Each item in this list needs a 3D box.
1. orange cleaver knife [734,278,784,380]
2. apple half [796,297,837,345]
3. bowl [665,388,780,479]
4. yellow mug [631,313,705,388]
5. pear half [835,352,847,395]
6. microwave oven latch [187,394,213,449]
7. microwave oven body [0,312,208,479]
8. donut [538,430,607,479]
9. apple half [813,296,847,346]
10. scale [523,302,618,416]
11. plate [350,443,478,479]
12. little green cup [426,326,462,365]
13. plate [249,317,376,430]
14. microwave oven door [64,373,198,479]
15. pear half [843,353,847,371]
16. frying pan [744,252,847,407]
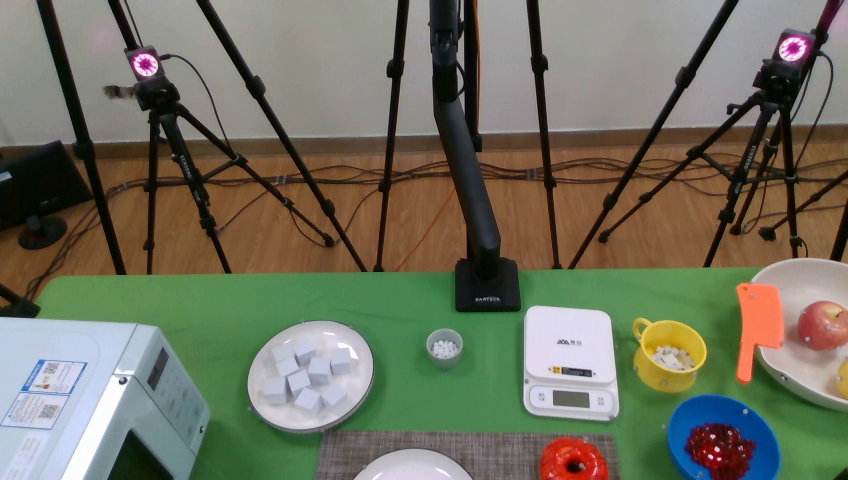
[{"bbox_3d":[0.533,0.138,0.968,0.077,0.012,0.210,14,50,17],"label":"orange cleaver knife"},{"bbox_3d":[0.636,0.138,0.998,0.033,0.082,0.080,-5,47,-5],"label":"apple half"},{"bbox_3d":[0.417,0.298,0.871,0.151,0.077,0.150,-2,48,2],"label":"bowl"},{"bbox_3d":[0.389,0.172,0.996,0.100,0.064,0.129,-25,50,-18],"label":"yellow mug"},{"bbox_3d":[0.671,0.201,0.915,0.075,0.111,0.056,28,55,31],"label":"pear half"},{"bbox_3d":[-0.353,0.280,0.940,0.030,0.030,0.078,3,48,6],"label":"microwave oven latch"},{"bbox_3d":[-0.522,0.340,0.764,0.326,0.262,0.437,2,48,5],"label":"microwave oven body"},{"bbox_3d":[0.214,0.324,0.878,0.099,0.049,0.098,-3,48,4],"label":"donut"},{"bbox_3d":[0.674,0.134,1.001,0.053,0.075,0.080,-5,44,-5],"label":"apple half"},{"bbox_3d":[0.242,0.193,1.010,0.148,0.032,0.199,3,48,7],"label":"scale"},{"bbox_3d":[-0.016,0.387,0.840,0.209,0.038,0.207,-2,48,3],"label":"plate"},{"bbox_3d":[0.035,0.181,1.031,0.061,0.039,0.061,-2,47,3],"label":"little green cup"},{"bbox_3d":[-0.182,0.222,1.008,0.207,0.039,0.205,-2,47,2],"label":"plate"},{"bbox_3d":[-0.381,0.372,0.718,0.039,0.246,0.352,1,47,6],"label":"microwave oven door"},{"bbox_3d":[0.696,0.188,0.938,0.070,0.089,0.031,27,57,29],"label":"pear half"},{"bbox_3d":[0.709,0.205,0.918,0.307,0.104,0.482,-21,41,-13],"label":"frying pan"}]
